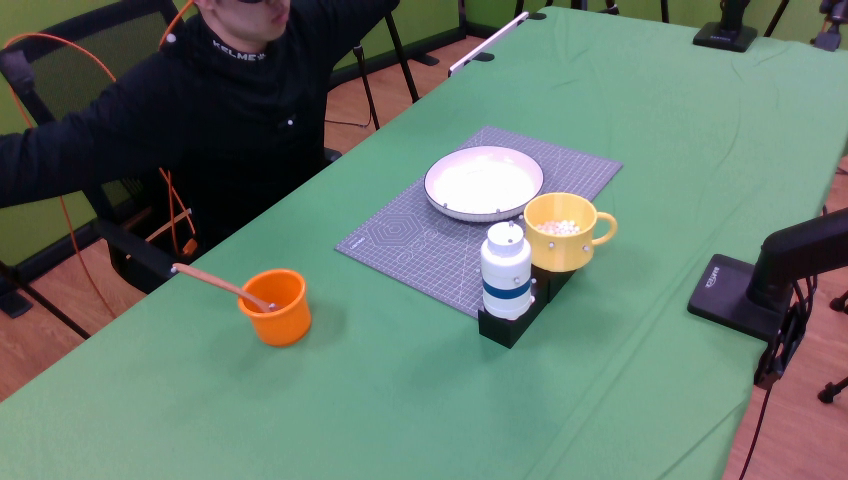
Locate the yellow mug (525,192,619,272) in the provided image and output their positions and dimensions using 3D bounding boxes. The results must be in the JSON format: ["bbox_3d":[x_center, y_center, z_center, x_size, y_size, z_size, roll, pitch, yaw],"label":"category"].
[{"bbox_3d":[0.206,-0.014,0.845,0.131,0.064,0.099,-4,41,1],"label":"yellow mug"}]

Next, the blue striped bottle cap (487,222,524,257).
[{"bbox_3d":[0.097,-0.001,0.722,0.044,0.021,0.044,-2,39,2],"label":"blue striped bottle cap"}]

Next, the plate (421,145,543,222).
[{"bbox_3d":[0.101,-0.094,1.048,0.207,0.039,0.206,-4,41,4],"label":"plate"}]

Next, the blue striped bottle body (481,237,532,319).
[{"bbox_3d":[0.104,0.037,0.756,0.063,0.121,0.063,-4,40,4],"label":"blue striped bottle body"}]

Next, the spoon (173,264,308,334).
[{"bbox_3d":[-0.245,0.077,0.817,0.021,0.195,0.041,-39,29,34],"label":"spoon"}]
